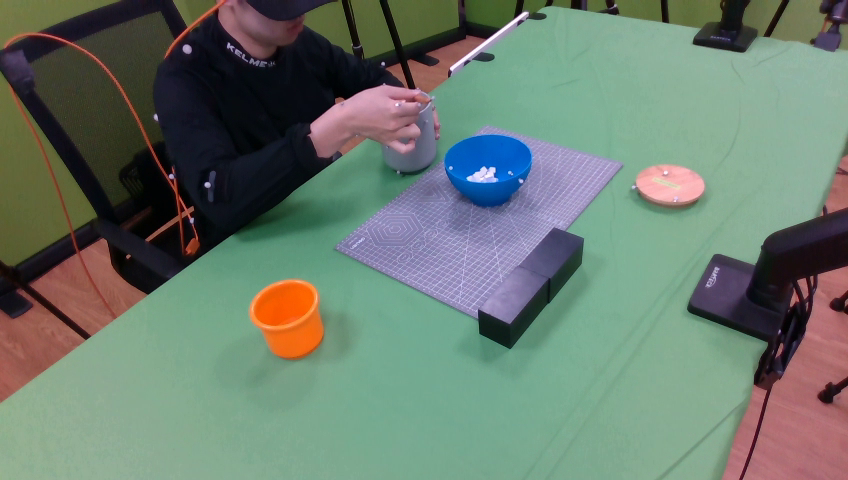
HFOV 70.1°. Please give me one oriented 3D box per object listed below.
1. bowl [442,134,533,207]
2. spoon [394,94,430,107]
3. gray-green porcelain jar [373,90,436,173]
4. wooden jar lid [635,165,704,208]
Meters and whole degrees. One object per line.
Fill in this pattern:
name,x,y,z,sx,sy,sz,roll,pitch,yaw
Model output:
bowl,0.111,-0.109,1.033,0.151,0.077,0.150,-4,40,4
spoon,-0.019,-0.235,1.012,0.042,0.021,0.193,-15,13,-9
gray-green porcelain jar,-0.034,-0.198,1.126,0.106,0.127,0.105,-4,40,4
wooden jar lid,0.411,-0.089,1.014,0.108,0.021,0.108,-5,41,5
